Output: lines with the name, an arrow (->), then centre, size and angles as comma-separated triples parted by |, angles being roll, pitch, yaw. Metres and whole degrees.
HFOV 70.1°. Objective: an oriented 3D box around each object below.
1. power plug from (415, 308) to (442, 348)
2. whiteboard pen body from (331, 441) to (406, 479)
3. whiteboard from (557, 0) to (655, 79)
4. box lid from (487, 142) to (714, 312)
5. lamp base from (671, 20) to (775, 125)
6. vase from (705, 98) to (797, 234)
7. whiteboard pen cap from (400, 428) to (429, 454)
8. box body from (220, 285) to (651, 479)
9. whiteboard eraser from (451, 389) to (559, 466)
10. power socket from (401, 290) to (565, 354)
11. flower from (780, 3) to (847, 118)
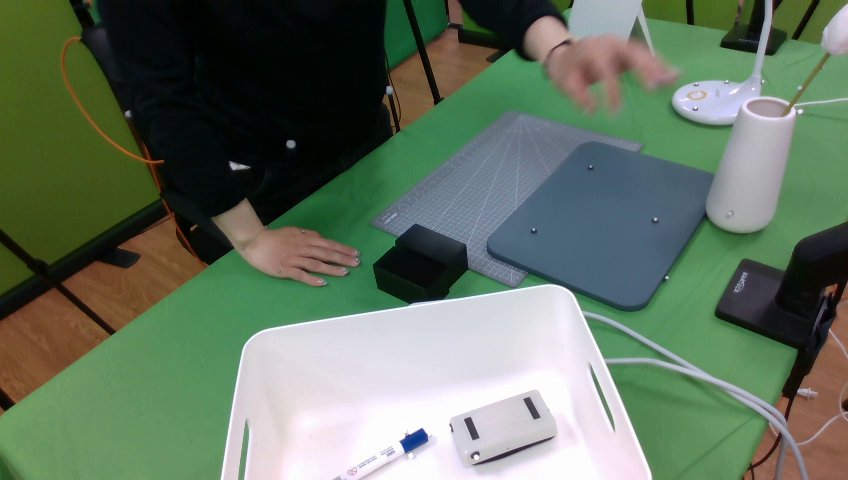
power plug -> 0.004, 0.121, 0.786 | 0.035, 0.053, 0.072 | 1, 45, 8
whiteboard pen body -> -0.063, 0.253, 0.676 | 0.141, 0.017, 0.017 | -24, 43, -21
whiteboard -> 0.462, -0.542, 1.367 | 0.145, 0.306, 0.215 | -3, 36, -25
box lid -> 0.298, -0.041, 0.986 | 0.261, 0.015, 0.372 | 23, 49, 30
lamp base -> 0.581, -0.332, 1.154 | 0.179, 0.181, 0.160 | 2, 42, 7
vase -> 0.480, -0.104, 0.888 | 0.098, 0.201, 0.097 | -4, 42, 4
whiteboard pen cap -> -0.012, 0.232, 0.695 | 0.033, 0.018, 0.018 | -24, 43, -21
box body -> 0.005, 0.211, 0.616 | 0.364, 0.161, 0.252 | -9, 40, -2
whiteboard eraser -> 0.090, 0.213, 0.682 | 0.113, 0.042, 0.055 | -17, 39, -8
power socket -> 0.079, 0.111, 0.823 | 0.227, 0.033, 0.072 | -6, 41, 1
flower -> 0.480, -0.157, 0.824 | 0.044, 0.362, 0.038 | -9, 56, -10
